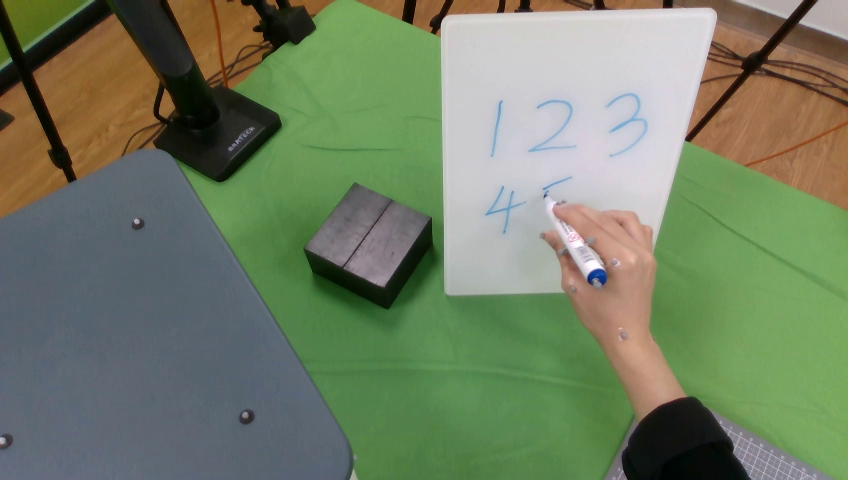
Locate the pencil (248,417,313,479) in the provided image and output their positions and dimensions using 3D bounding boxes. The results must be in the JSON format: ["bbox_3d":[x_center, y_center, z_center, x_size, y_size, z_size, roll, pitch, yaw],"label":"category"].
[{"bbox_3d":[-0.169,0.233,0.544,0.012,0.012,0.193,32,54,19],"label":"pencil"}]

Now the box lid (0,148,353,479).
[{"bbox_3d":[-0.251,0.096,0.462,0.263,0.015,0.368,-32,64,-17],"label":"box lid"}]

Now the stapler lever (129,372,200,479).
[{"bbox_3d":[-0.237,0.176,0.544,0.026,0.040,0.117,2,60,23],"label":"stapler lever"}]

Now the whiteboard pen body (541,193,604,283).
[{"bbox_3d":[0.122,-0.008,0.519,0.017,0.017,0.139,-8,32,-4],"label":"whiteboard pen body"}]

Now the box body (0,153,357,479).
[{"bbox_3d":[-0.248,0.136,0.525,0.254,0.162,0.360,-32,64,-16],"label":"box body"}]

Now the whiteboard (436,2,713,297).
[{"bbox_3d":[0.122,-0.103,0.614,0.217,0.308,0.142,-1,40,1],"label":"whiteboard"}]

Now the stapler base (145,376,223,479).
[{"bbox_3d":[-0.230,0.187,0.564,0.041,0.025,0.129,2,61,23],"label":"stapler base"}]
